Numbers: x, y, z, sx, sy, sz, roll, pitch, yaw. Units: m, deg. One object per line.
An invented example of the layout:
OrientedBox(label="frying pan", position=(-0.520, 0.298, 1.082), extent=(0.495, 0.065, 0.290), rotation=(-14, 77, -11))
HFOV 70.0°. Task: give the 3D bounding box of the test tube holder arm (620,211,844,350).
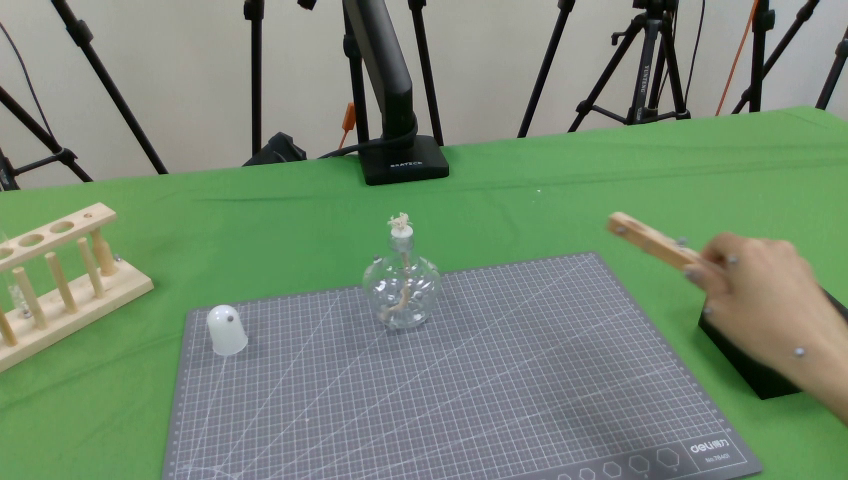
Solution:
OrientedBox(label="test tube holder arm", position=(0.221, 0.025, 0.456), extent=(0.013, 0.015, 0.176), rotation=(-28, 50, -36))

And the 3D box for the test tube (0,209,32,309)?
OrientedBox(label="test tube", position=(-0.393, 0.002, 0.564), extent=(0.017, 0.151, 0.017), rotation=(1, 30, 0))

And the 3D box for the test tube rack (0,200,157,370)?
OrientedBox(label="test tube rack", position=(-0.390, 0.057, 0.571), extent=(0.066, 0.086, 0.242), rotation=(25, 42, 32))

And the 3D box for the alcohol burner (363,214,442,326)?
OrientedBox(label="alcohol burner", position=(-0.021, 0.025, 0.582), extent=(0.078, 0.120, 0.077), rotation=(1, 36, 0))

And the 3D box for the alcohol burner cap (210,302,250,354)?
OrientedBox(label="alcohol burner cap", position=(-0.184, 0.079, 0.569), extent=(0.034, 0.048, 0.033), rotation=(0, 35, 0))

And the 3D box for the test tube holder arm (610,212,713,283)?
OrientedBox(label="test tube holder arm", position=(0.186, 0.005, 0.476), extent=(0.010, 0.015, 0.087), rotation=(-28, 49, -35))
